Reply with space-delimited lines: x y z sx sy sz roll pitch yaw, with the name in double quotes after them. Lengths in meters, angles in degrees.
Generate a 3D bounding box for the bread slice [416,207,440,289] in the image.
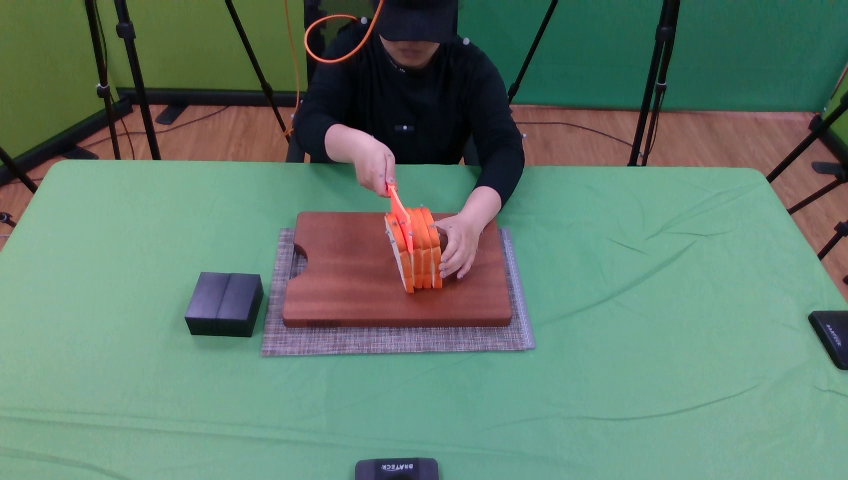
0.007 0.010 1.077 0.018 0.135 0.106 -11 49 -11 "bread slice"

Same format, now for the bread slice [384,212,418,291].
-0.043 0.014 1.067 0.019 0.132 0.104 -20 44 -6 "bread slice"

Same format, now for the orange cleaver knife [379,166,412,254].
-0.050 -0.057 1.065 0.012 0.077 0.210 -10 39 -13 "orange cleaver knife"
